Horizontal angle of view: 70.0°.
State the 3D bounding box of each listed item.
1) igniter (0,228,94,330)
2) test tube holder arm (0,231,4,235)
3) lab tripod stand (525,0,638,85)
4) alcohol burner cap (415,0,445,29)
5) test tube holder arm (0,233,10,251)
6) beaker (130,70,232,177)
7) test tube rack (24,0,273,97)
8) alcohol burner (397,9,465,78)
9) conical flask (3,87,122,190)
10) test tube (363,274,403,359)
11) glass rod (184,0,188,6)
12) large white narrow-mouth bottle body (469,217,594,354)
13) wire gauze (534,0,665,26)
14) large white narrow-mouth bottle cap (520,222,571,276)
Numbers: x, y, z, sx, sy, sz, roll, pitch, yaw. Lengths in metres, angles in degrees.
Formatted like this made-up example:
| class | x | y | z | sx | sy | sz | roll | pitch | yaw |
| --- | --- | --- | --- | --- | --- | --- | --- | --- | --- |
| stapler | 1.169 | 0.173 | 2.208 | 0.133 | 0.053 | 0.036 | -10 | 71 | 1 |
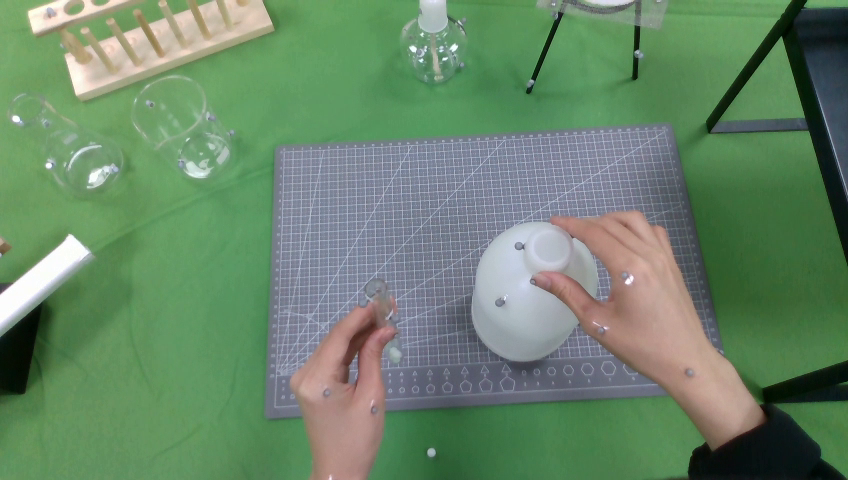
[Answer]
| class | x | y | z | sx | sy | sz | roll | pitch | yaw |
| --- | --- | --- | --- | --- | --- | --- | --- | --- | --- |
| igniter | -0.428 | 0.094 | 0.554 | 0.057 | 0.025 | 0.276 | 40 | 72 | 12 |
| test tube holder arm | -0.475 | 0.055 | 0.572 | 0.013 | 0.015 | 0.178 | 40 | 74 | 14 |
| lab tripod stand | 0.178 | -0.245 | 0.663 | 0.148 | 0.132 | 0.147 | 0 | 68 | 0 |
| alcohol burner cap | 0.006 | -0.251 | 0.640 | 0.034 | 0.048 | 0.033 | 0 | 68 | 1 |
| test tube holder arm | -0.441 | 0.027 | 0.583 | 0.010 | 0.015 | 0.087 | 41 | 74 | 14 |
| beaker | -0.252 | -0.115 | 0.641 | 0.074 | 0.101 | 0.083 | 11 | 70 | 6 |
| test tube rack | -0.310 | -0.258 | 0.702 | 0.242 | 0.086 | 0.066 | -23 | 70 | -8 |
| alcohol burner | 0.008 | -0.237 | 0.674 | 0.078 | 0.120 | 0.077 | 0 | 68 | 0 |
| conical flask | -0.377 | -0.109 | 0.627 | 0.075 | 0.122 | 0.075 | 0 | 69 | 1 |
| test tube | -0.029 | 0.063 | 0.463 | 0.017 | 0.151 | 0.017 | -1 | 62 | 3 |
| glass rod | -0.291 | -0.317 | 0.652 | 0.008 | 0.201 | 0.008 | -3 | 63 | 7 |
| large white narrow-mouth bottle body | 0.093 | 0.036 | 0.526 | 0.102 | 0.196 | 0.101 | 0 | 71 | 2 |
| wire gauze | 0.183 | -0.271 | 0.600 | 0.121 | 0.011 | 0.124 | 17 | 72 | 6 |
| large white narrow-mouth bottle cap | 0.089 | 0.007 | 0.443 | 0.038 | 0.024 | 0.037 | 0 | 71 | 1 |
